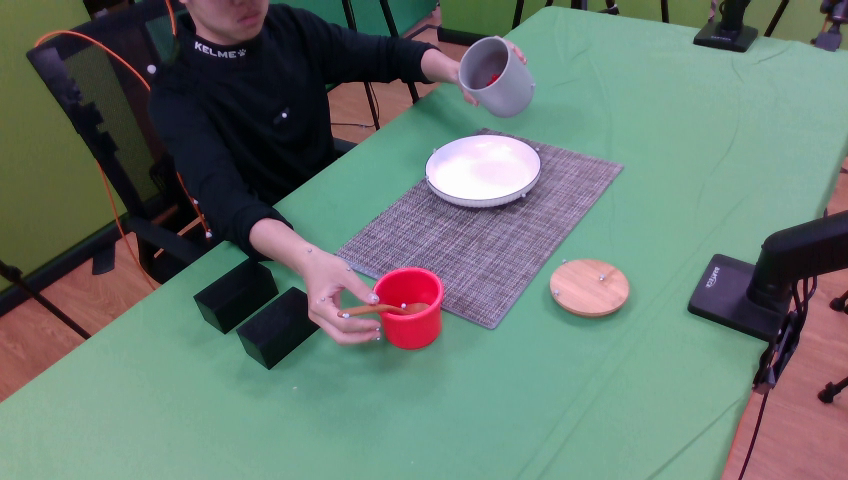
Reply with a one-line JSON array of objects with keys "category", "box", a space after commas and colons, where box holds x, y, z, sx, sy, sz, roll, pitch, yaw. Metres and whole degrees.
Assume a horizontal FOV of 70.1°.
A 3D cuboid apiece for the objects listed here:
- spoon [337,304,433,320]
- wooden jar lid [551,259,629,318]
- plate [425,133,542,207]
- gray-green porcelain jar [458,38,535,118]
[{"category": "spoon", "box": [-0.048, 0.091, 0.777, 0.041, 0.021, 0.195, 23, 5, 32]}, {"category": "wooden jar lid", "box": [0.234, 0.070, 0.857, 0.108, 0.021, 0.108, -5, 40, 4]}, {"category": "plate", "box": [0.106, -0.122, 1.079, 0.207, 0.039, 0.206, -4, 41, 4]}, {"category": "gray-green porcelain jar", "box": [0.139, -0.293, 1.116, 0.105, 0.127, 0.105, -11, 69, 31]}]
